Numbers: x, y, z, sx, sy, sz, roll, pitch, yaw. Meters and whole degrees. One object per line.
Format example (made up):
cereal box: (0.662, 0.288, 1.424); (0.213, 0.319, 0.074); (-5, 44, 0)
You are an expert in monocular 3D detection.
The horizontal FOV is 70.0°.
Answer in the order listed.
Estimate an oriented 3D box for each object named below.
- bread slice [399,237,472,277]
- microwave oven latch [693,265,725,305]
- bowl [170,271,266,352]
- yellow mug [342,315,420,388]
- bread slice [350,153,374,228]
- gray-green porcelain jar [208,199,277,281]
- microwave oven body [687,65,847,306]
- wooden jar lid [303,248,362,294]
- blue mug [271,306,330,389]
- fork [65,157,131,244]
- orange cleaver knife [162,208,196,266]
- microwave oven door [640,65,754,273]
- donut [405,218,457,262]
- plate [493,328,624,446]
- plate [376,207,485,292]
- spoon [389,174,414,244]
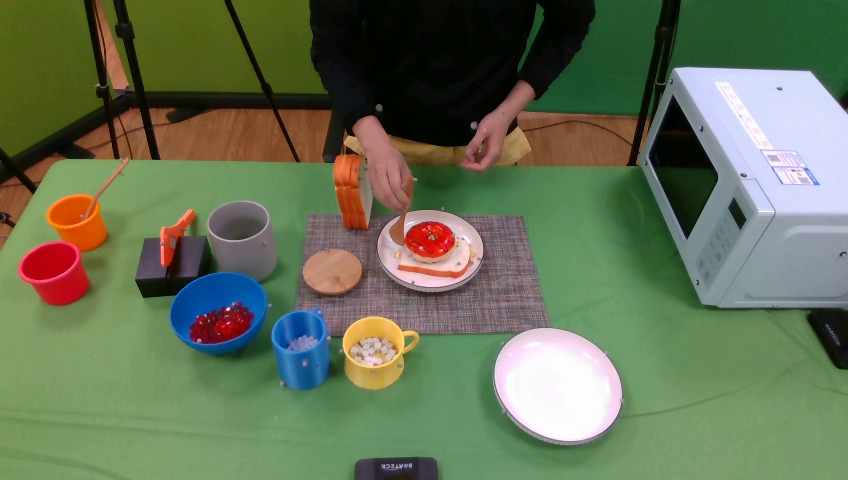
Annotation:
bread slice: (0.026, 0.024, 1.160); (0.131, 0.019, 0.104); (8, 47, 8)
microwave oven latch: (0.523, 0.082, 1.116); (0.030, 0.029, 0.078); (2, 46, -1)
bowl: (-0.333, 0.132, 1.006); (0.151, 0.077, 0.150); (2, 46, -2)
yellow mug: (-0.067, 0.177, 0.990); (0.131, 0.064, 0.099); (-16, 50, -19)
bread slice: (-0.124, -0.104, 1.207); (0.018, 0.135, 0.106); (-2, 47, 7)
gray-green porcelain jar: (-0.323, 0.007, 1.092); (0.106, 0.127, 0.105); (2, 46, -2)
microwave oven body: (0.669, -0.111, 1.176); (0.326, 0.261, 0.439); (0, 46, -3)
wooden jar lid: (-0.169, 0.060, 1.122); (0.108, 0.021, 0.107); (2, 45, -2)
blue mug: (-0.188, 0.163, 0.969); (0.082, 0.106, 0.116); (15, 47, 10)
fork: (-0.608, -0.074, 1.132); (0.207, 0.019, 0.028); (-52, 47, 10)
orange cleaver knife: (-0.454, -0.010, 1.129); (0.012, 0.077, 0.210); (-1, 17, -6)
microwave oven door: (0.523, -0.147, 1.193); (0.039, 0.245, 0.353); (0, 47, -3)
donut: (0.014, -0.002, 1.140); (0.099, 0.048, 0.098); (2, 46, -2)
plate: (0.213, 0.236, 0.974); (0.208, 0.039, 0.206); (2, 46, -2)
plate: (0.012, 0.021, 1.158); (0.209, 0.038, 0.208); (2, 47, -2)
spoon: (-0.037, -0.054, 1.091); (0.041, 0.194, 0.021); (41, 53, 19)
